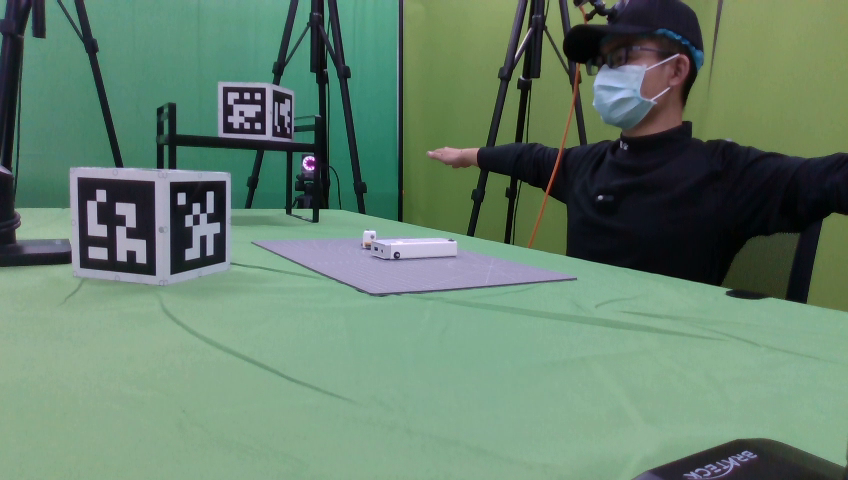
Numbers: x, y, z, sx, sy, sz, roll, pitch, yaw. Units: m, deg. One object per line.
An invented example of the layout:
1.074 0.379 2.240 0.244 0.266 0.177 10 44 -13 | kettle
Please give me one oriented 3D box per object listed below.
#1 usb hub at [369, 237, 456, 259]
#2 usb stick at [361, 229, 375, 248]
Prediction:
-0.016 0.012 0.909 0.126 0.025 0.049 -2 9 -32 | usb hub
-0.091 -0.001 0.984 0.021 0.027 0.059 2 9 -4 | usb stick
